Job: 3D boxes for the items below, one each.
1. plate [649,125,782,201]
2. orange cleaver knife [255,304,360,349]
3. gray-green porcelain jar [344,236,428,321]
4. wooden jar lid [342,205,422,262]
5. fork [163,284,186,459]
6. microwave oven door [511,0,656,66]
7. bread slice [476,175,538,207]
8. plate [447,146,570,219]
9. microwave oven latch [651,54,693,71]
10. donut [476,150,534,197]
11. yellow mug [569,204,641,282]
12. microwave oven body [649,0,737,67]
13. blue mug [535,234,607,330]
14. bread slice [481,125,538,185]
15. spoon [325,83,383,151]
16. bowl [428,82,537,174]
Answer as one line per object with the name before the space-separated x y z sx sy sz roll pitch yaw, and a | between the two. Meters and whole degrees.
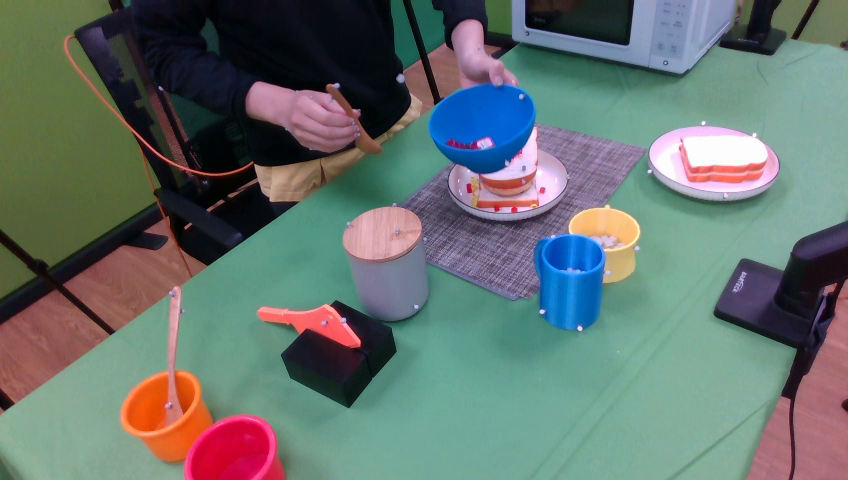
plate | 0.493 -0.128 1.036 0.207 0.039 0.206 -4 41 4
orange cleaver knife | -0.161 0.115 0.813 0.210 0.077 0.012 -4 32 47
gray-green porcelain jar | -0.049 0.042 0.849 0.106 0.127 0.105 -4 41 4
wooden jar lid | -0.055 -0.005 0.808 0.108 0.021 0.108 -6 41 6
fork | -0.302 0.157 0.733 0.028 0.019 0.207 -3 84 15
microwave oven door | 0.350 -0.539 1.349 0.353 0.245 0.039 24 50 31
bread slice | 0.143 -0.104 1.058 0.105 0.019 0.131 0 43 6
plate | 0.145 -0.098 1.046 0.209 0.038 0.208 -4 41 4
microwave oven latch | 0.532 -0.386 1.301 0.078 0.029 0.030 26 52 34
donut | 0.138 -0.116 1.025 0.099 0.048 0.098 -8 55 12
yellow mug | 0.268 -0.005 0.904 0.099 0.064 0.130 7 41 15
microwave oven body | 0.475 -0.602 1.411 0.438 0.261 0.327 23 50 32
blue mug | 0.190 0.048 0.824 0.082 0.106 0.115 -26 44 -21
bread slice | 0.141 -0.144 1.008 0.107 0.018 0.133 -9 47 8
spoon | -0.099 -0.168 0.840 0.041 0.195 0.021 9 73 17
bowl | 0.087 -0.147 0.855 0.151 0.077 0.150 -8 47 9
